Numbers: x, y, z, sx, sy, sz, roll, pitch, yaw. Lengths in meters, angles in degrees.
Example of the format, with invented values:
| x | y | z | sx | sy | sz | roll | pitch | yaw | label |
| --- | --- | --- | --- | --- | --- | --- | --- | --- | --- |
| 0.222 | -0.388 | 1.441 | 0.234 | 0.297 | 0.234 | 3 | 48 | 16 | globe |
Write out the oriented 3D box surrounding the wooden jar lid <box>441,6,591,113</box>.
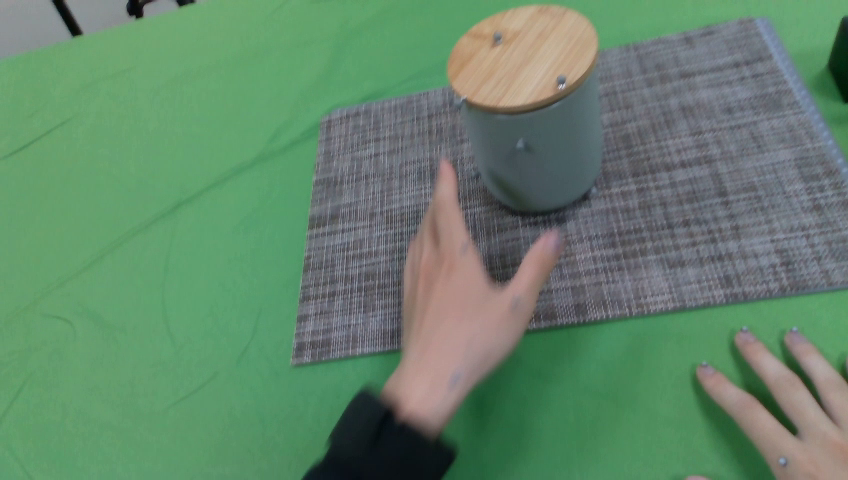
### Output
| x | y | z | sx | sy | sz | roll | pitch | yaw | label |
| --- | --- | --- | --- | --- | --- | --- | --- | --- | --- |
| 0.067 | -0.129 | 0.441 | 0.108 | 0.021 | 0.107 | -9 | 55 | 13 | wooden jar lid |

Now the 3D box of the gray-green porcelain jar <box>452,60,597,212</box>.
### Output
| x | y | z | sx | sy | sz | roll | pitch | yaw | label |
| --- | --- | --- | --- | --- | --- | --- | --- | --- | --- |
| 0.085 | -0.093 | 0.491 | 0.105 | 0.128 | 0.105 | -9 | 53 | 13 | gray-green porcelain jar |
